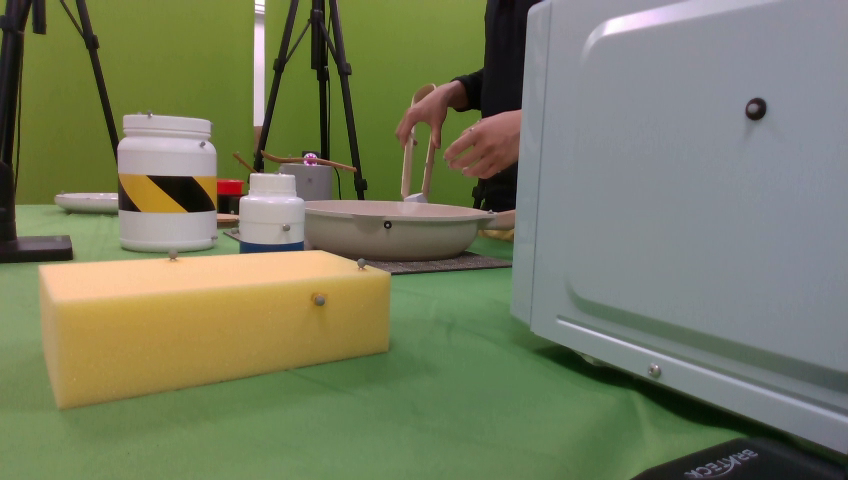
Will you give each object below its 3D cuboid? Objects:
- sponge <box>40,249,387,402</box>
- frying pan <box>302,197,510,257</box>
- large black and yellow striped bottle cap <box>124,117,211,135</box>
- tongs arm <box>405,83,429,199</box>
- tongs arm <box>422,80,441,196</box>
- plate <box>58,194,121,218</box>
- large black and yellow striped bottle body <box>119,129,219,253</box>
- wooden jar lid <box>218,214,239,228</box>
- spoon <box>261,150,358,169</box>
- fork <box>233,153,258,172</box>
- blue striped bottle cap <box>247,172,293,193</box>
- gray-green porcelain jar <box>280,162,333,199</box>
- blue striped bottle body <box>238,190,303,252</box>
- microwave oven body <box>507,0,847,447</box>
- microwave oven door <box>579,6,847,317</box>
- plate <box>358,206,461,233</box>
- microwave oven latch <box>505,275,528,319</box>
[{"bbox_3d":[-0.142,0.047,0.419,0.208,0.061,0.117,-3,8,-36],"label":"sponge"},{"bbox_3d":[0.050,-0.035,0.915,0.487,0.102,0.307,-5,7,10],"label":"frying pan"},{"bbox_3d":[-0.366,-0.163,0.866,0.115,0.019,0.115,3,7,0],"label":"large black and yellow striped bottle cap"},{"bbox_3d":[-0.017,-0.222,1.313,0.028,0.028,0.387,-23,40,27],"label":"tongs arm"},{"bbox_3d":[0.006,-0.230,1.303,0.050,0.026,0.384,-17,43,27],"label":"tongs arm"},{"bbox_3d":[-0.671,-0.074,1.310,0.209,0.038,0.209,2,8,0],"label":"plate"},{"bbox_3d":[-0.367,-0.080,0.876,0.131,0.184,0.130,1,7,0],"label":"large black and yellow striped bottle body"},{"bbox_3d":[-0.404,-0.037,1.169,0.108,0.020,0.108,3,7,0],"label":"wooden jar lid"},{"bbox_3d":[-0.229,-0.162,1.222,0.194,0.021,0.041,3,3,-16],"label":"spoon"},{"bbox_3d":[-0.396,-0.143,1.486,0.028,0.018,0.208,20,-26,45],"label":"fork"},{"bbox_3d":[-0.152,-0.057,0.598,0.044,0.020,0.044,3,7,0],"label":"blue striped bottle cap"},{"bbox_3d":[-0.238,-0.092,1.221,0.106,0.126,0.106,2,7,0],"label":"gray-green porcelain jar"},{"bbox_3d":[-0.153,-0.007,0.606,0.063,0.120,0.063,2,7,0],"label":"blue striped bottle body"},{"bbox_3d":[0.331,-0.042,0.425,0.444,0.260,0.324,-2,8,-31],"label":"microwave oven body"},{"bbox_3d":[0.294,-0.067,0.570,0.358,0.243,0.039,-3,9,-31],"label":"microwave oven door"},{"bbox_3d":[-0.030,-0.041,1.214,0.208,0.039,0.207,3,7,0],"label":"plate"},{"bbox_3d":[0.100,0.041,0.471,0.079,0.029,0.030,-1,7,-28],"label":"microwave oven latch"}]
